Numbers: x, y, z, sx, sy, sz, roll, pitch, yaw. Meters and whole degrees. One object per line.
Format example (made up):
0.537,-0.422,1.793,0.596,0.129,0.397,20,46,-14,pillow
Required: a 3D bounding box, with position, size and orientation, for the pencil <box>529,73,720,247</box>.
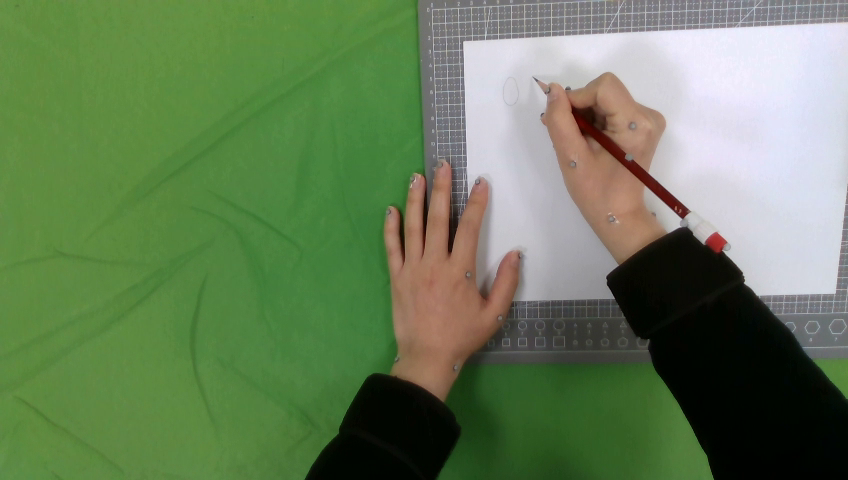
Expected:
0.128,-0.064,0.416,0.012,0.012,0.192,-43,57,11,pencil
